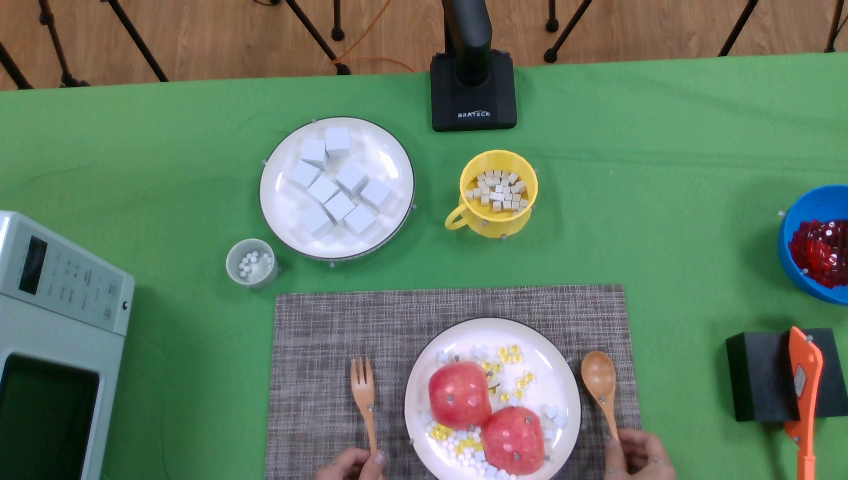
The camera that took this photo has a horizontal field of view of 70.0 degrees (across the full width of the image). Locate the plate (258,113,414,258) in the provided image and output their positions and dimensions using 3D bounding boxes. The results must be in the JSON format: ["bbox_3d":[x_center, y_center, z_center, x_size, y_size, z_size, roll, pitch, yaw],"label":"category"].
[{"bbox_3d":[-0.116,-0.072,0.817,0.207,0.039,0.206,-1,72,2],"label":"plate"}]

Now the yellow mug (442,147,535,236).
[{"bbox_3d":[0.079,-0.054,0.789,0.131,0.064,0.099,-32,74,-7],"label":"yellow mug"}]

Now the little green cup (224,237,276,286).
[{"bbox_3d":[-0.223,0.031,0.786,0.061,0.039,0.061,-1,73,2],"label":"little green cup"}]

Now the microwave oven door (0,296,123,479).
[{"bbox_3d":[-0.403,0.248,0.597,0.039,0.245,0.353,1,72,3],"label":"microwave oven door"}]

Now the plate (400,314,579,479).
[{"bbox_3d":[0.076,0.193,0.720,0.209,0.038,0.208,0,73,2],"label":"plate"}]

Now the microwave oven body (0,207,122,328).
[{"bbox_3d":[-0.547,0.206,0.621,0.326,0.261,0.439,1,73,2],"label":"microwave oven body"}]

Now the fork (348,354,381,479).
[{"bbox_3d":[-0.064,0.232,0.702,0.028,0.018,0.205,10,54,-36],"label":"fork"}]

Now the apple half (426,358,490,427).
[{"bbox_3d":[0.039,0.178,0.710,0.074,0.053,0.080,-4,73,3],"label":"apple half"}]

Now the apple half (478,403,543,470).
[{"bbox_3d":[0.101,0.228,0.702,0.081,0.033,0.080,-1,70,3],"label":"apple half"}]

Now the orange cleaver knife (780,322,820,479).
[{"bbox_3d":[0.422,0.201,0.686,0.012,0.077,0.211,-1,96,6],"label":"orange cleaver knife"}]

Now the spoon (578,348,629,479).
[{"bbox_3d":[0.217,0.221,0.705,0.042,0.022,0.192,-4,63,-8],"label":"spoon"}]

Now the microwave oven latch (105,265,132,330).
[{"bbox_3d":[-0.389,0.072,0.760,0.030,0.029,0.078,3,73,3],"label":"microwave oven latch"}]

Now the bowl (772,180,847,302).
[{"bbox_3d":[0.496,0.010,0.747,0.151,0.077,0.150,-1,72,2],"label":"bowl"}]
